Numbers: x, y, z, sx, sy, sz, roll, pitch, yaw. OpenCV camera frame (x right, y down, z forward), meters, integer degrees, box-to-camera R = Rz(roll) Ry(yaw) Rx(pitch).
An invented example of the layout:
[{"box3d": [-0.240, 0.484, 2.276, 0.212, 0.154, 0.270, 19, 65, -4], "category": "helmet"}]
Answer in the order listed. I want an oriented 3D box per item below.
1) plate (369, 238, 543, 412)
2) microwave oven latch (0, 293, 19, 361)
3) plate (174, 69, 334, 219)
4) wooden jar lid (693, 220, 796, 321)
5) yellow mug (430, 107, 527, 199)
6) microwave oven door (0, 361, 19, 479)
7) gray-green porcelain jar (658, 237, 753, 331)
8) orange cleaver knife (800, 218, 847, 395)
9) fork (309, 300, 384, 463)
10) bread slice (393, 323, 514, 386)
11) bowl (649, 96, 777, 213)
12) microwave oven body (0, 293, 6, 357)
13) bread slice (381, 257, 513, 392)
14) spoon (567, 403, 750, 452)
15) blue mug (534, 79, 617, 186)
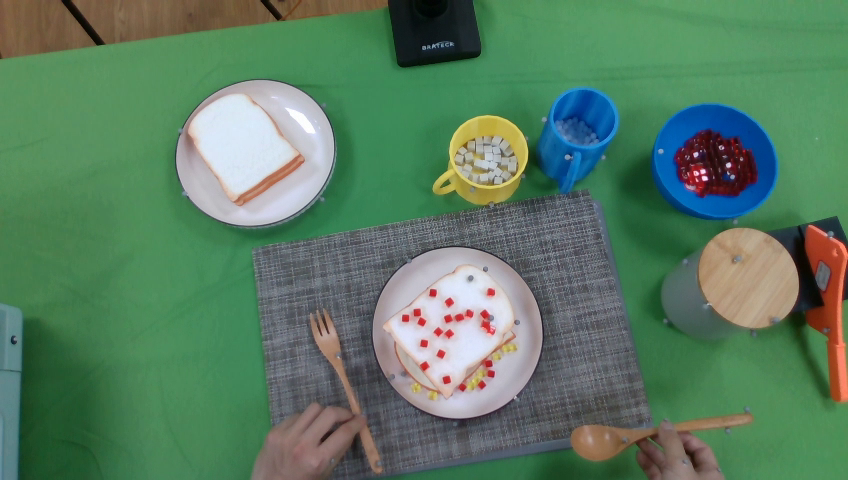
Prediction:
[{"box3d": [0.038, 0.101, 0.737, 0.209, 0.038, 0.208, 0, 76, 1], "category": "plate"}, {"box3d": [-0.506, 0.104, 0.724, 0.030, 0.029, 0.078, -4, 76, -1], "category": "microwave oven latch"}, {"box3d": [-0.220, -0.124, 0.800, 0.208, 0.039, 0.206, 0, 76, 0], "category": "plate"}, {"box3d": [0.339, 0.033, 0.646, 0.108, 0.021, 0.108, 0, 78, -2], "category": "wooden jar lid"}, {"box3d": [0.066, -0.103, 0.779, 0.131, 0.064, 0.099, -30, 76, -6], "category": "yellow mug"}, {"box3d": [-0.481, 0.289, 0.573, 0.039, 0.245, 0.353, -8, 75, -1], "category": "microwave oven door"}, {"box3d": [0.341, 0.050, 0.707, 0.106, 0.127, 0.105, 0, 75, 0], "category": "gray-green porcelain jar"}, {"box3d": [0.475, 0.079, 0.721, 0.012, 0.077, 0.212, -11, 102, -2], "category": "orange cleaver knife"}, {"box3d": [-0.092, 0.167, 0.724, 0.028, 0.019, 0.205, -27, 69, 2], "category": "fork"}, {"box3d": [0.030, 0.112, 0.738, 0.131, 0.019, 0.104, -41, 77, -11], "category": "bread slice"}, {"box3d": [0.351, -0.097, 0.769, 0.151, 0.077, 0.150, 0, 76, 0], "category": "bowl"}, {"box3d": [-0.631, 0.268, 0.584, 0.326, 0.261, 0.439, -7, 76, -2], "category": "microwave oven body"}, {"box3d": [0.032, 0.085, 0.681, 0.107, 0.018, 0.134, 45, 74, 5], "category": "bread slice"}, {"box3d": [0.251, 0.196, 0.650, 0.193, 0.022, 0.041, -12, 43, 8], "category": "spoon"}, {"box3d": [0.186, -0.125, 0.763, 0.082, 0.106, 0.116, 11, 76, 4], "category": "blue mug"}]
